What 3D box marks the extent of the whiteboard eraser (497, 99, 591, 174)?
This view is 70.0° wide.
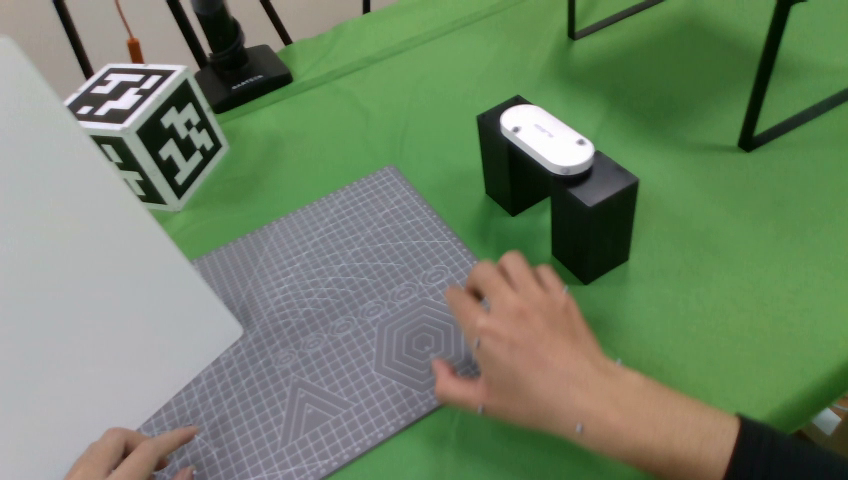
[{"bbox_3d":[0.102,-0.092,0.523,0.041,0.019,0.100,-28,50,-16],"label":"whiteboard eraser"}]

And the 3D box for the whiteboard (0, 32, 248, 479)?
[{"bbox_3d":[-0.339,0.027,0.494,0.142,0.308,0.217,14,51,48],"label":"whiteboard"}]
